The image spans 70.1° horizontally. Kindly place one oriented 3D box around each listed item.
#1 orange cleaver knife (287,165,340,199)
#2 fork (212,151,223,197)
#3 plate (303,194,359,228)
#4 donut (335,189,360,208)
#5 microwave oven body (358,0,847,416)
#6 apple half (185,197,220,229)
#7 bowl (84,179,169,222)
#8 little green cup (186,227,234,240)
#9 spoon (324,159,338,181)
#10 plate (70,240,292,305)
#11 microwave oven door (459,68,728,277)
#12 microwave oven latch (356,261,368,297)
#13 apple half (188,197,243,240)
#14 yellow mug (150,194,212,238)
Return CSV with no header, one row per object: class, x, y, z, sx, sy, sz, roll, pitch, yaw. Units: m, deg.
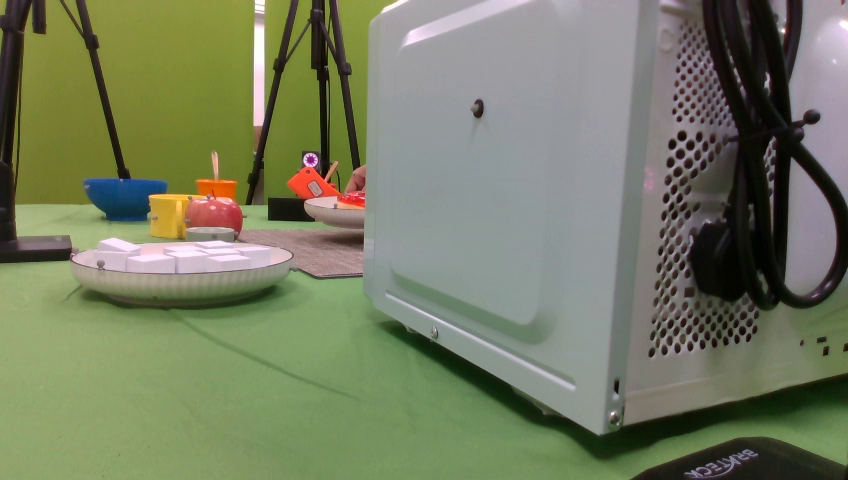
orange cleaver knife,-0.211,-0.093,1.382,0.212,0.077,0.012,33,1,-15
fork,-0.494,-0.143,1.442,0.028,0.018,0.206,-2,52,-20
plate,-0.103,-0.051,1.040,0.209,0.038,0.209,2,11,0
donut,-0.104,-0.062,1.040,0.099,0.048,0.099,3,9,0
microwave oven body,0.210,-0.047,0.475,0.444,0.260,0.324,-1,7,-28
apple half,-0.338,-0.031,0.927,0.032,0.081,0.081,12,12,31
bowl,-0.584,-0.078,1.194,0.151,0.077,0.151,3,8,0
little green cup,-0.284,0.005,0.805,0.061,0.038,0.061,2,8,0
spoon,-0.257,-0.147,1.567,0.041,0.022,0.193,1,50,19
plate,-0.242,0.031,0.618,0.208,0.039,0.207,2,8,0
microwave oven door,0.203,-0.095,0.810,0.354,0.243,0.039,8,11,39
microwave oven latch,-0.020,0.033,0.531,0.079,0.029,0.030,-1,7,-27
apple half,-0.305,-0.026,0.907,0.053,0.074,0.081,12,8,31
yellow mug,-0.401,-0.039,1.003,0.100,0.064,0.130,0,9,-20
